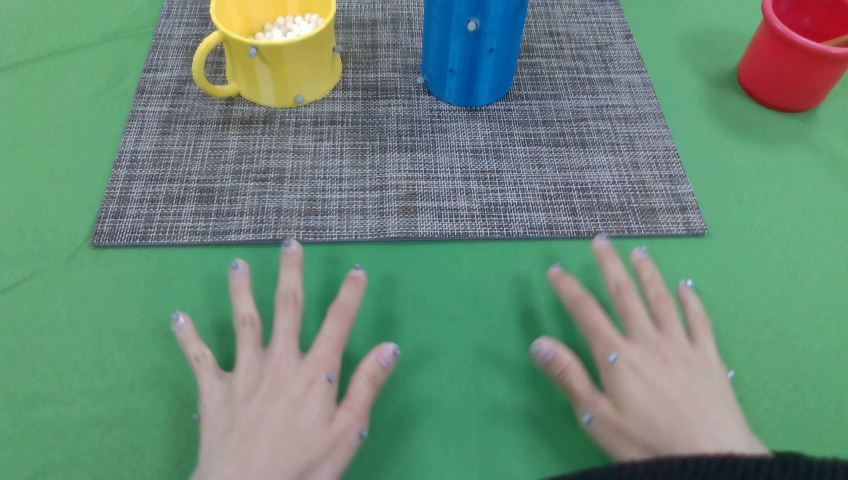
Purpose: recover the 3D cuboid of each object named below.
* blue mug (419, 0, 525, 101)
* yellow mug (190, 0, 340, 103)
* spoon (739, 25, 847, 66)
[{"bbox_3d":[0.049,-0.191,0.507,0.082,0.107,0.116,37,61,20],"label":"blue mug"},{"bbox_3d":[-0.134,-0.165,0.501,0.131,0.064,0.099,-38,66,-24],"label":"yellow mug"},{"bbox_3d":[0.360,-0.173,0.494,0.041,0.192,0.022,-43,113,-31],"label":"spoon"}]
